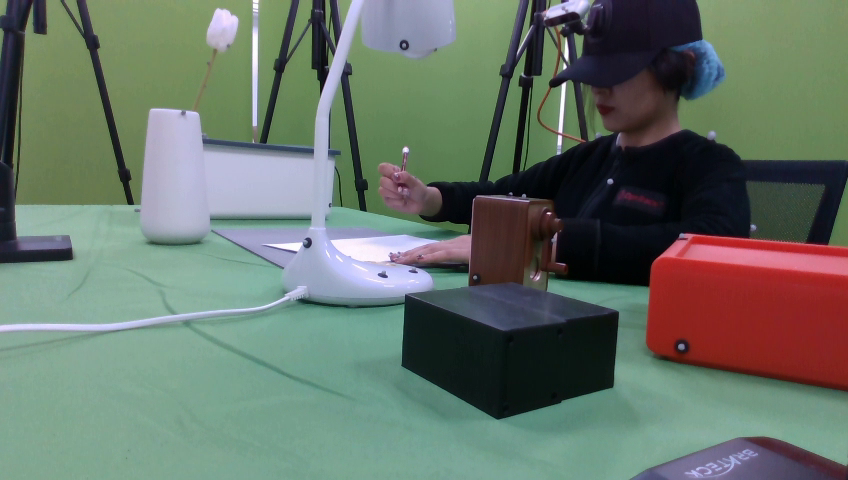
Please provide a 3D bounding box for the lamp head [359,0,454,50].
[{"bbox_3d":[-0.024,-0.282,0.674,0.112,0.123,0.112,-3,38,3],"label":"lamp head"}]

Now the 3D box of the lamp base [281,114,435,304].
[{"bbox_3d":[-0.071,-0.034,0.614,0.160,0.180,0.180,6,10,27],"label":"lamp base"}]

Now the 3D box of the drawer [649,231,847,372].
[{"bbox_3d":[0.303,0.044,0.499,0.194,0.073,0.212,7,9,27],"label":"drawer"}]

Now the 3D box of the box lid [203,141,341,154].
[{"bbox_3d":[-0.396,-0.212,1.373,0.373,0.015,0.262,-1,9,-29],"label":"box lid"}]

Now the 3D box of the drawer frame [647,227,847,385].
[{"bbox_3d":[0.303,0.043,0.495,0.201,0.082,0.214,6,9,26],"label":"drawer frame"}]

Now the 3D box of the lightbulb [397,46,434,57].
[{"bbox_3d":[-0.017,-0.264,0.692,0.059,0.108,0.059,-9,29,5],"label":"lightbulb"}]

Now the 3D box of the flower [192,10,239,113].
[{"bbox_3d":[-0.354,-0.174,0.915,0.038,0.361,0.044,18,-3,12],"label":"flower"}]

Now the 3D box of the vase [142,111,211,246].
[{"bbox_3d":[-0.378,-0.093,0.920,0.098,0.200,0.098,2,9,0],"label":"vase"}]

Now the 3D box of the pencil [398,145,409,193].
[{"bbox_3d":[-0.038,-0.132,1.105,0.012,0.012,0.193,2,33,1],"label":"pencil"}]

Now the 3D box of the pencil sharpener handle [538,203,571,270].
[{"bbox_3d":[0.137,-0.003,0.619,0.030,0.067,0.036,8,6,38],"label":"pencil sharpener handle"}]

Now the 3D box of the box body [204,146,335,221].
[{"bbox_3d":[-0.411,-0.135,1.386,0.366,0.160,0.253,-2,9,-29],"label":"box body"}]

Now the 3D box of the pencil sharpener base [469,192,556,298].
[{"bbox_3d":[0.097,0.003,0.652,0.076,0.107,0.061,8,9,38],"label":"pencil sharpener base"}]
